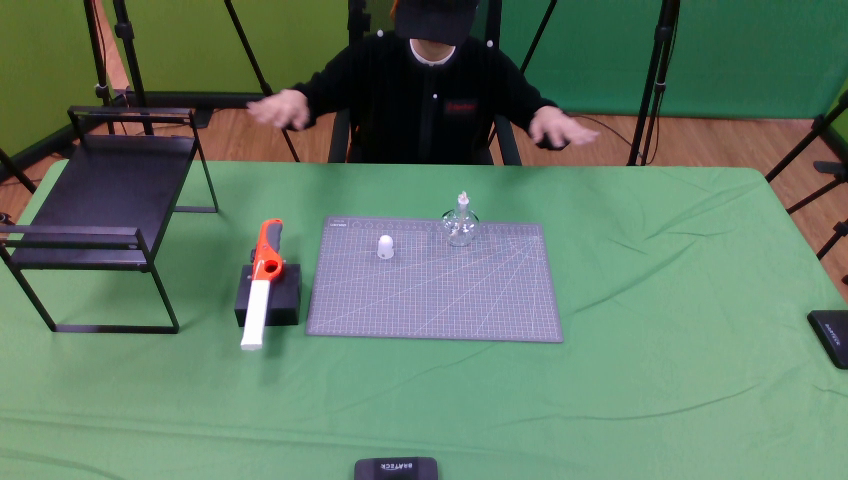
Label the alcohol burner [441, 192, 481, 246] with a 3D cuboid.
[{"bbox_3d":[0.073,-0.046,1.176,0.078,0.119,0.077,2,44,-2],"label":"alcohol burner"}]

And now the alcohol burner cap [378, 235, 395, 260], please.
[{"bbox_3d":[-0.073,0.012,1.160,0.034,0.048,0.033,1,46,0],"label":"alcohol burner cap"}]

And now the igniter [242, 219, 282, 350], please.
[{"bbox_3d":[-0.277,0.065,1.043,0.057,0.025,0.274,1,48,-6],"label":"igniter"}]
